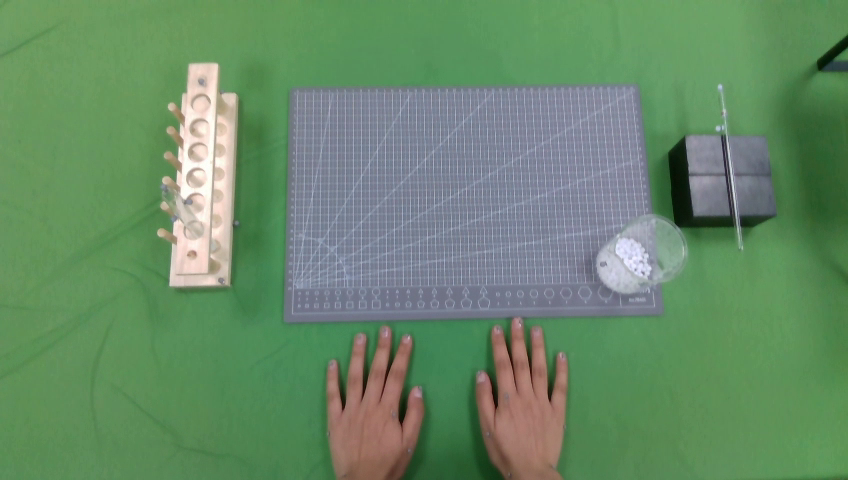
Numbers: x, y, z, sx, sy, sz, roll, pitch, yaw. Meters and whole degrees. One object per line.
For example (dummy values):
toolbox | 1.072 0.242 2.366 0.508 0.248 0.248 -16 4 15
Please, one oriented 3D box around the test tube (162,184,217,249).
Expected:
test tube | -0.244 -0.020 0.639 0.017 0.151 0.017 2 70 -4

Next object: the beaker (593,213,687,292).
beaker | 0.237 0.019 0.687 0.084 0.100 0.073 1 76 0

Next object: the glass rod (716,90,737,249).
glass rod | 0.358 -0.086 0.716 0.008 0.008 0.198 1 77 -1

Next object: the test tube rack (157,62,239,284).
test tube rack | -0.264 -0.075 0.702 0.067 0.085 0.241 -1 77 -1
